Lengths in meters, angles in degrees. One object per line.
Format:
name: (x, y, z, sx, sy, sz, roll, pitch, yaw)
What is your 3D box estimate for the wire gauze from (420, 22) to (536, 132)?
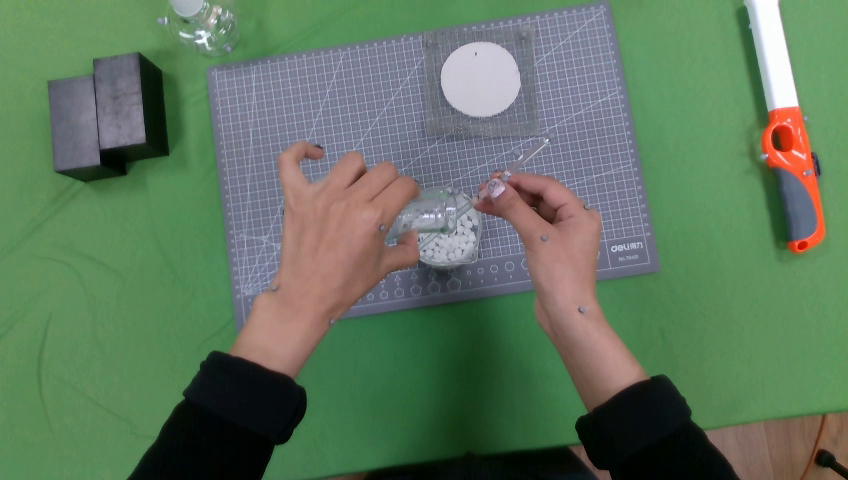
wire gauze: (0.058, -0.176, 0.656, 0.125, 0.011, 0.121, -1, 84, 0)

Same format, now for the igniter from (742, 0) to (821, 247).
igniter: (0.370, -0.130, 0.629, 0.057, 0.025, 0.275, -6, 84, -7)

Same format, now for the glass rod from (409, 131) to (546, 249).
glass rod: (0.037, -0.036, 0.514, 0.008, 0.200, 0.008, 16, 57, -26)

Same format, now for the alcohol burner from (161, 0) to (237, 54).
alcohol burner: (-0.242, -0.242, 0.627, 0.078, 0.119, 0.077, 0, 85, 5)

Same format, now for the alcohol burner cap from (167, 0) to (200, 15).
alcohol burner cap: (-0.244, -0.248, 0.592, 0.034, 0.048, 0.033, -1, 78, 3)

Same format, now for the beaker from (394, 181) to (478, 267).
beaker: (0.017, -0.009, 0.596, 0.084, 0.100, 0.074, 45, 88, 6)

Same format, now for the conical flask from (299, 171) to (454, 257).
conical flask: (-0.037, -0.024, 0.513, 0.121, 0.076, 0.075, -1, 83, 18)
